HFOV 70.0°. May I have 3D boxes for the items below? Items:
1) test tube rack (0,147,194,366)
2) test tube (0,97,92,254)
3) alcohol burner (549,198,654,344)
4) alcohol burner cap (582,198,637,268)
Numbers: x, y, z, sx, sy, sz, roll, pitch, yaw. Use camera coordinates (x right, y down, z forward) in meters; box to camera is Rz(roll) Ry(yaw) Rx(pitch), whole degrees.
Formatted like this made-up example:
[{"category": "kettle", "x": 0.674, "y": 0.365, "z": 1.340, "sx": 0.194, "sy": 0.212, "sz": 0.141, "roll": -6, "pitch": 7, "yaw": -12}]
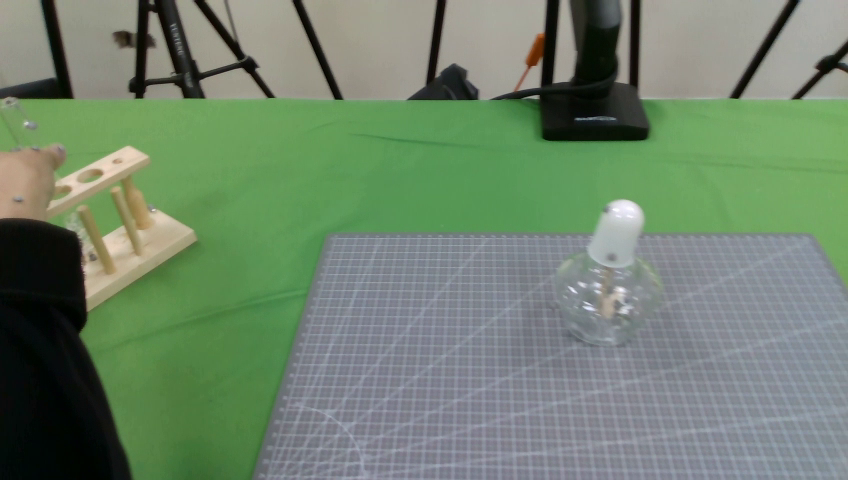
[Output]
[{"category": "test tube rack", "x": -0.323, "y": 0.021, "z": 0.503, "sx": 0.066, "sy": 0.086, "sz": 0.242, "roll": 25, "pitch": 48, "yaw": 29}, {"category": "test tube", "x": -0.315, "y": -0.048, "z": 0.506, "sx": 0.017, "sy": 0.151, "sz": 0.017, "roll": -4, "pitch": 38, "yaw": 3}, {"category": "alcohol burner", "x": 0.133, "y": 0.020, "z": 0.449, "sx": 0.078, "sy": 0.120, "sz": 0.077, "roll": -2, "pitch": 39, "yaw": 2}, {"category": "alcohol burner cap", "x": 0.132, "y": -0.007, "z": 0.426, "sx": 0.034, "sy": 0.048, "sz": 0.033, "roll": 2, "pitch": 41, "yaw": -2}]
